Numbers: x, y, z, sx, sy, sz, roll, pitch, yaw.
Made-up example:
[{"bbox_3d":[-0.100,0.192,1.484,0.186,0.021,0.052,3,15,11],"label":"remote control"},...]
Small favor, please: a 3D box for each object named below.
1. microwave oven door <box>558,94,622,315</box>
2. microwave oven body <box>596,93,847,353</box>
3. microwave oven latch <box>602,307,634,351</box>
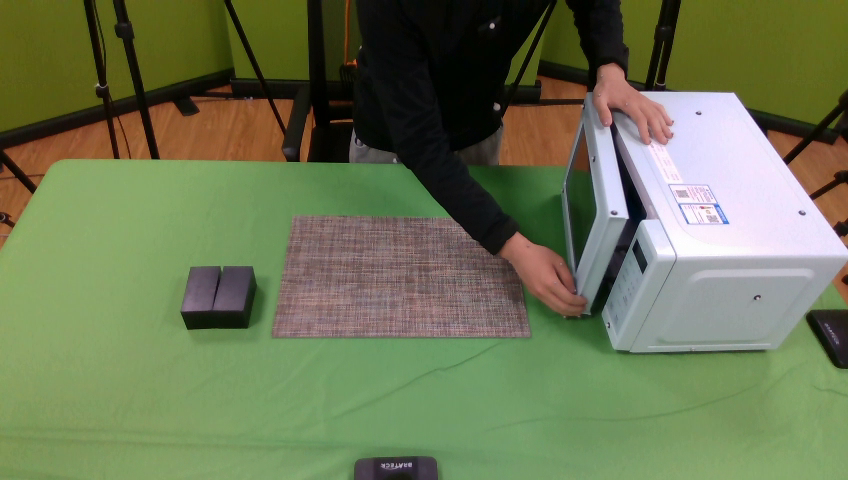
[{"bbox_3d":[0.301,-0.075,1.122,0.039,0.245,0.353,6,46,1],"label":"microwave oven door"},{"bbox_3d":[0.475,-0.042,1.109,0.326,0.261,0.438,-1,45,-4],"label":"microwave oven body"},{"bbox_3d":[0.332,0.153,1.044,0.030,0.029,0.078,-1,45,-4],"label":"microwave oven latch"}]
